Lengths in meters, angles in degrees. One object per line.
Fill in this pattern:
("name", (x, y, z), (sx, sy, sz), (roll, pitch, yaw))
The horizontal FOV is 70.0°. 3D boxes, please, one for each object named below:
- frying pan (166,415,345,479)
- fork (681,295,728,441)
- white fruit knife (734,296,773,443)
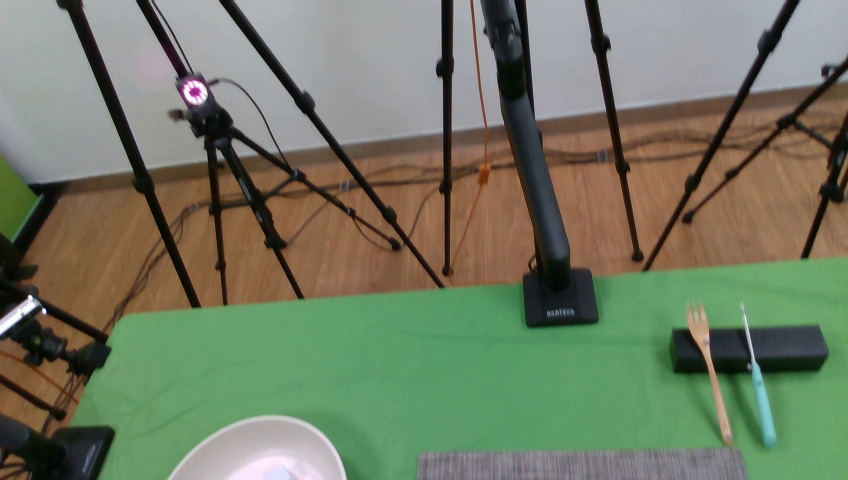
("frying pan", (-0.250, 0.463, 0.779), (0.306, 0.104, 0.483), (-6, 40, 11))
("fork", (0.404, 0.180, 0.869), (0.028, 0.019, 0.205), (-8, 69, 3))
("white fruit knife", (0.461, 0.178, 0.855), (0.016, 0.028, 0.205), (-8, 65, 15))
